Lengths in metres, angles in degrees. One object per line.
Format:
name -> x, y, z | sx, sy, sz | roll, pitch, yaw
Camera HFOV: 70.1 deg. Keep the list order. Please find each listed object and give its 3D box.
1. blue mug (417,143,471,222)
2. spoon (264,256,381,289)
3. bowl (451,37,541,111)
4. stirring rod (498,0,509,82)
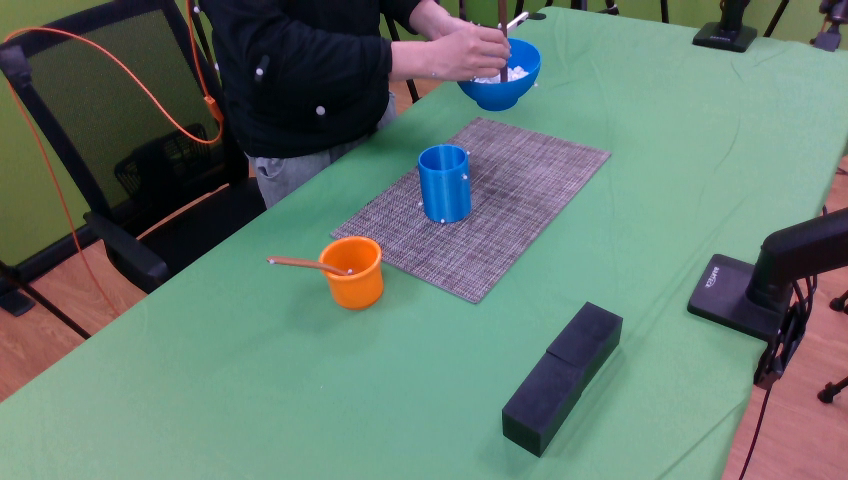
blue mug -> 0.031, -0.104, 1.014 | 0.082, 0.106, 0.115 | -14, 41, -7
spoon -> -0.136, 0.041, 0.842 | 0.021, 0.195, 0.041 | -56, 46, 13
bowl -> 0.125, -0.275, 1.033 | 0.151, 0.077, 0.150 | -4, 46, 5
stirring rod -> 0.128, -0.308, 0.967 | 0.014, 0.177, 0.005 | -31, 49, -19
